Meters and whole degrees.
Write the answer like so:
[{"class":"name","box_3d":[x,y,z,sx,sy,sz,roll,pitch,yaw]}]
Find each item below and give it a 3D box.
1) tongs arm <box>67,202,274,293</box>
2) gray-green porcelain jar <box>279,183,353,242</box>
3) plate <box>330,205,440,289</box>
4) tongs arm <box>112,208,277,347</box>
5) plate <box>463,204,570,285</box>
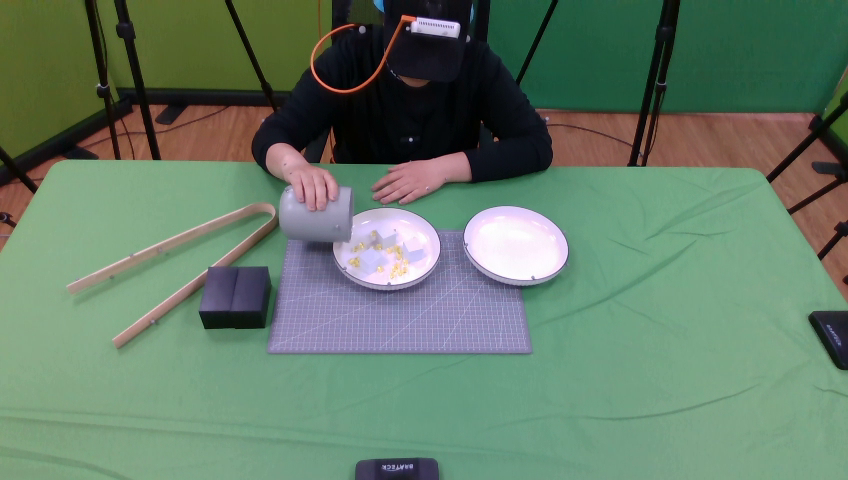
[{"class":"tongs arm","box_3d":[-0.461,0.013,1.142,0.385,0.026,0.050,-31,56,-31]},{"class":"gray-green porcelain jar","box_3d":[-0.198,-0.051,1.120,0.126,0.106,0.105,3,46,-3]},{"class":"plate","box_3d":[-0.074,0.017,1.160,0.208,0.039,0.206,2,46,-2]},{"class":"tongs arm","box_3d":[-0.400,0.058,1.109,0.028,0.028,0.387,26,49,23]},{"class":"plate","box_3d":[0.178,0.012,1.184,0.209,0.038,0.208,3,46,-3]}]
